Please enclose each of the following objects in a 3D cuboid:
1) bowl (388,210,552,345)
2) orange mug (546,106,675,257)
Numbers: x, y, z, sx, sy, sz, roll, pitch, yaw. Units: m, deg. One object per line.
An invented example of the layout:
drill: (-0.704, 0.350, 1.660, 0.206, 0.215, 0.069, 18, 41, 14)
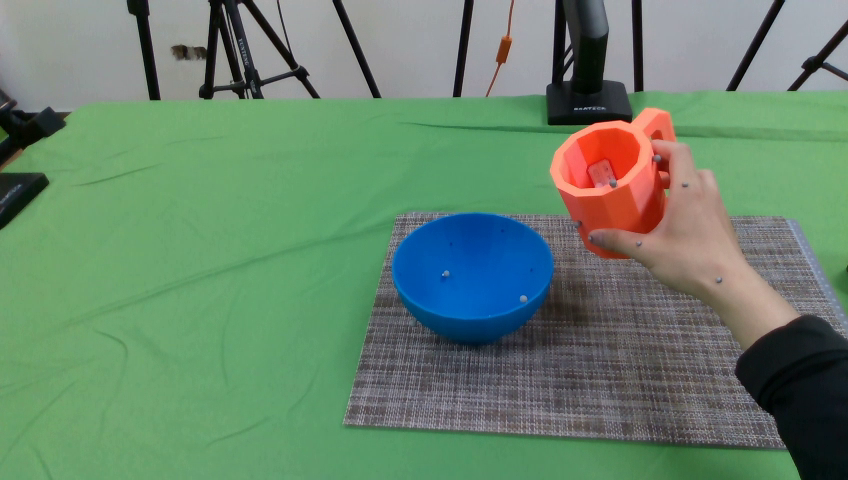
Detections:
bowl: (0.045, 0.047, 0.582, 0.151, 0.077, 0.150, -3, 39, 3)
orange mug: (0.180, -0.059, 0.555, 0.126, 0.102, 0.082, -50, 44, -5)
